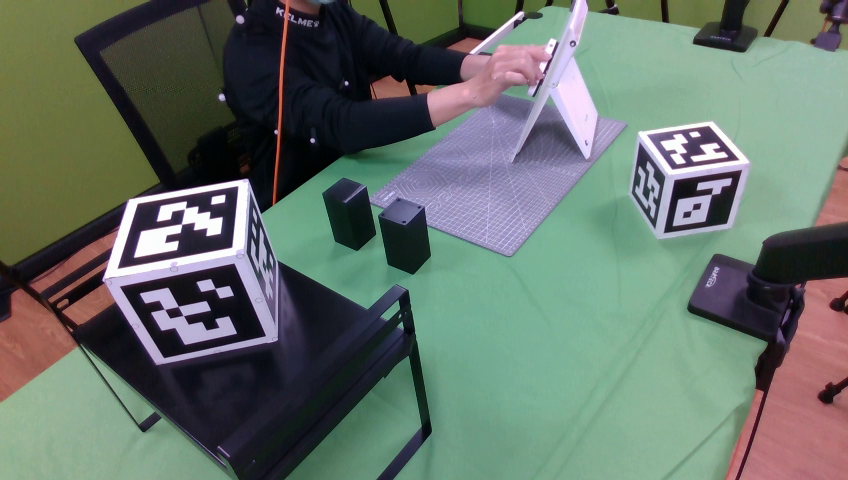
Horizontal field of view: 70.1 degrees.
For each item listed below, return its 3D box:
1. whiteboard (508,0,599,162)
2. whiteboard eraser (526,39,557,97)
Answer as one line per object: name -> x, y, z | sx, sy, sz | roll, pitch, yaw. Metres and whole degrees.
whiteboard -> 0.285, -0.289, 1.090 | 0.144, 0.305, 0.217 | 22, 45, 3
whiteboard eraser -> 0.205, -0.301, 1.059 | 0.019, 0.101, 0.041 | 22, 22, 0
